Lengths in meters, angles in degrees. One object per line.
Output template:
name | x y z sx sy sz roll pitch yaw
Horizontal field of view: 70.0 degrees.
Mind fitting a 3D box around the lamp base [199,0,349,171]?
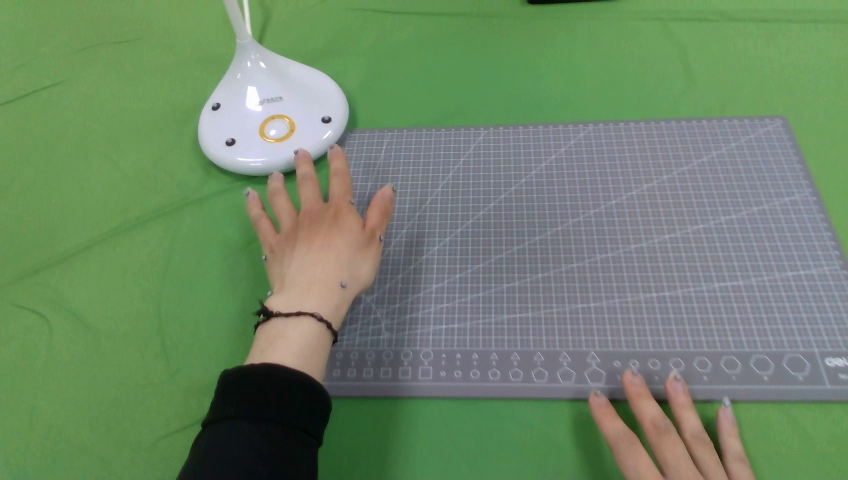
lamp base | -0.174 -0.188 0.595 0.161 0.182 0.177 -25 51 -12
